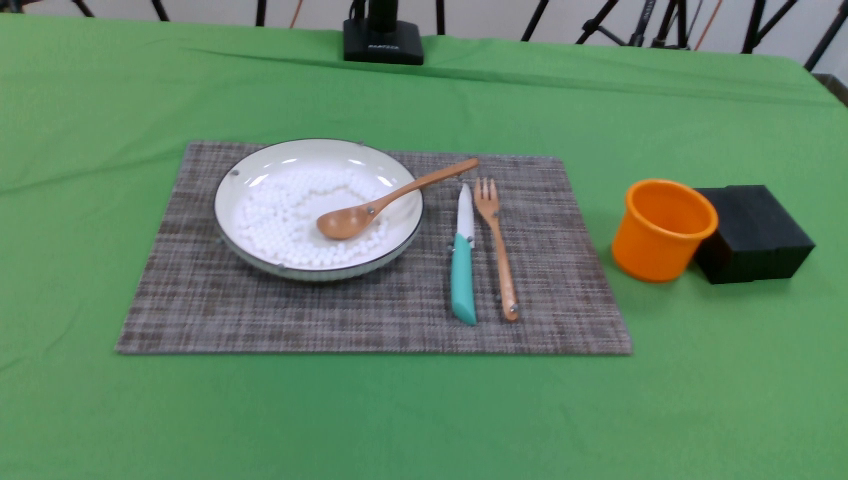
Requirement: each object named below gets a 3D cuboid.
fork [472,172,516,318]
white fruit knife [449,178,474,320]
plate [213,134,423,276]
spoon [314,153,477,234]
[{"bbox_3d":[0.073,-0.003,0.630,0.028,0.019,0.205,10,41,-15],"label":"fork"},{"bbox_3d":[0.039,-0.002,0.628,0.027,0.016,0.205,31,37,-22],"label":"white fruit knife"},{"bbox_3d":[-0.105,-0.036,0.623,0.209,0.038,0.207,5,44,-4],"label":"plate"},{"bbox_3d":[-0.024,-0.053,0.631,0.194,0.022,0.041,-27,52,-16],"label":"spoon"}]
